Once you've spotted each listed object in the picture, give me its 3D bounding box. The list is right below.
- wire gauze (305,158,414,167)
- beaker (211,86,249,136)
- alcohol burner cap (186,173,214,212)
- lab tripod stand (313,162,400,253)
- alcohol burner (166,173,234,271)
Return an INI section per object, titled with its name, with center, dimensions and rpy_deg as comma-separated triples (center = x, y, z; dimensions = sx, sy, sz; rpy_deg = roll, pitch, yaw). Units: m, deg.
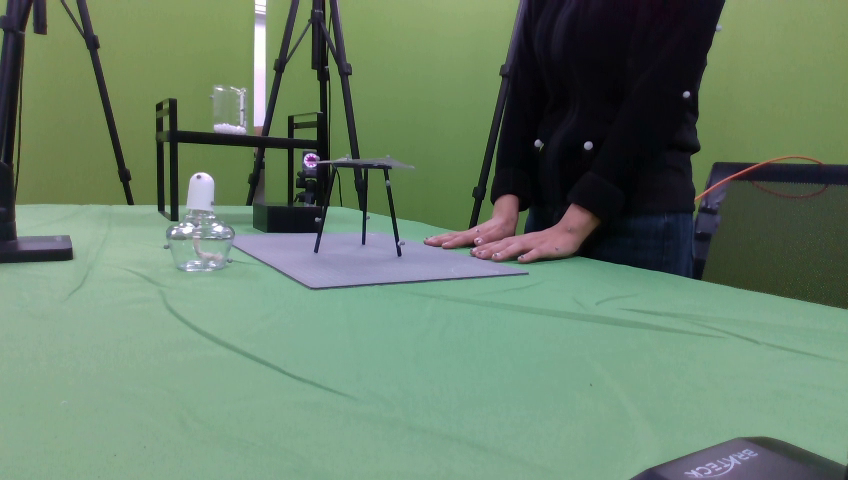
[wire gauze]
center = -0.092, -0.117, 0.894
dimensions = 0.121, 0.011, 0.125
rpy_deg = 4, 7, 19
[beaker]
center = -0.413, -0.274, 1.297
dimensions = 0.074, 0.100, 0.083
rpy_deg = -5, 11, -44
[alcohol burner cap]
center = -0.268, -0.057, 0.730
dimensions = 0.034, 0.048, 0.034
rpy_deg = 5, 2, 0
[lab tripod stand]
center = -0.097, -0.051, 0.906
dimensions = 0.148, 0.131, 0.148
rpy_deg = 1, 6, 0
[alcohol burner]
center = -0.271, -0.022, 0.735
dimensions = 0.078, 0.119, 0.078
rpy_deg = 2, 5, 0
